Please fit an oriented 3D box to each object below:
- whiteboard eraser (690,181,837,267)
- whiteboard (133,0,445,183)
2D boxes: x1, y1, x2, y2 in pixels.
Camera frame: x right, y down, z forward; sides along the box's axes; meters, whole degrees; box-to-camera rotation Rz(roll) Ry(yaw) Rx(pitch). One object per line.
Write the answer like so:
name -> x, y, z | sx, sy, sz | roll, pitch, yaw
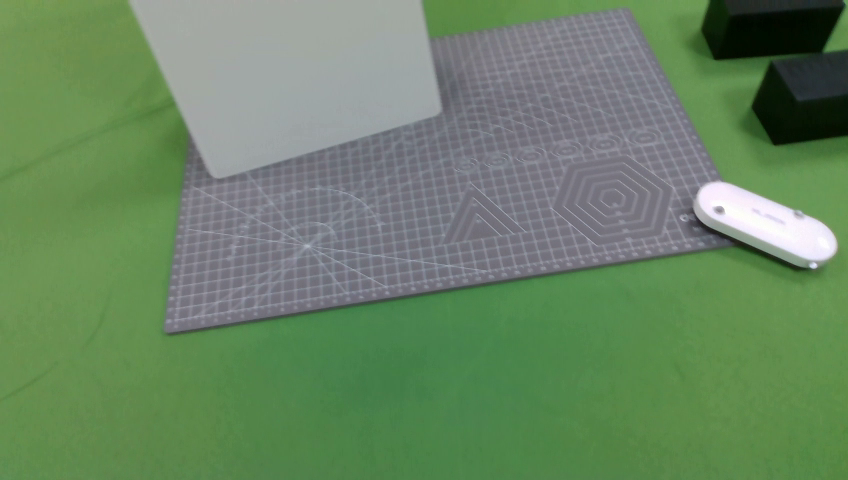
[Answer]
whiteboard eraser -> 0.253, -0.013, 0.454 | 0.100, 0.019, 0.041 | 27, 61, 20
whiteboard -> -0.126, -0.240, 0.512 | 0.217, 0.308, 0.142 | -17, 36, -5
